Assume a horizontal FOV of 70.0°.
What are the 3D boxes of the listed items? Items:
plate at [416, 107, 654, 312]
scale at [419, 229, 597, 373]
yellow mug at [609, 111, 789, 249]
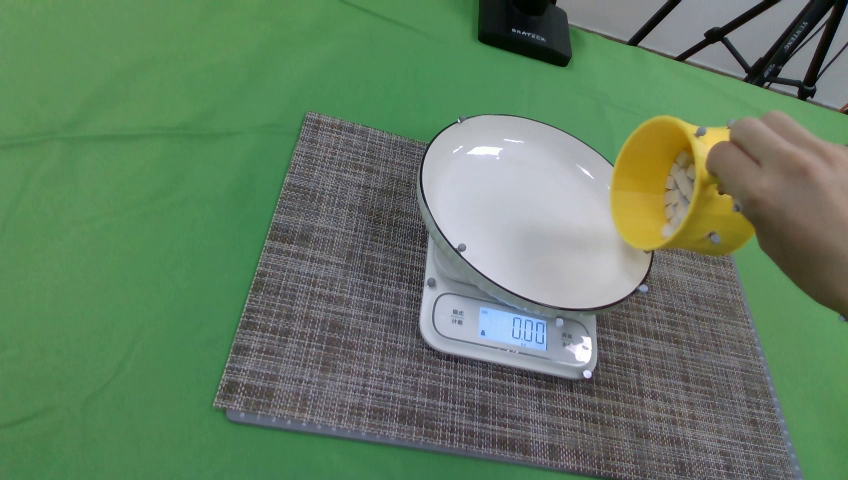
[{"bbox_3d":[0.091,-0.027,0.511,0.210,0.038,0.207,10,52,-13],"label":"plate"},{"bbox_3d":[0.076,0.010,0.521,0.149,0.032,0.199,14,51,-10],"label":"scale"},{"bbox_3d":[0.201,-0.044,0.443,0.064,0.130,0.100,2,88,-18],"label":"yellow mug"}]
